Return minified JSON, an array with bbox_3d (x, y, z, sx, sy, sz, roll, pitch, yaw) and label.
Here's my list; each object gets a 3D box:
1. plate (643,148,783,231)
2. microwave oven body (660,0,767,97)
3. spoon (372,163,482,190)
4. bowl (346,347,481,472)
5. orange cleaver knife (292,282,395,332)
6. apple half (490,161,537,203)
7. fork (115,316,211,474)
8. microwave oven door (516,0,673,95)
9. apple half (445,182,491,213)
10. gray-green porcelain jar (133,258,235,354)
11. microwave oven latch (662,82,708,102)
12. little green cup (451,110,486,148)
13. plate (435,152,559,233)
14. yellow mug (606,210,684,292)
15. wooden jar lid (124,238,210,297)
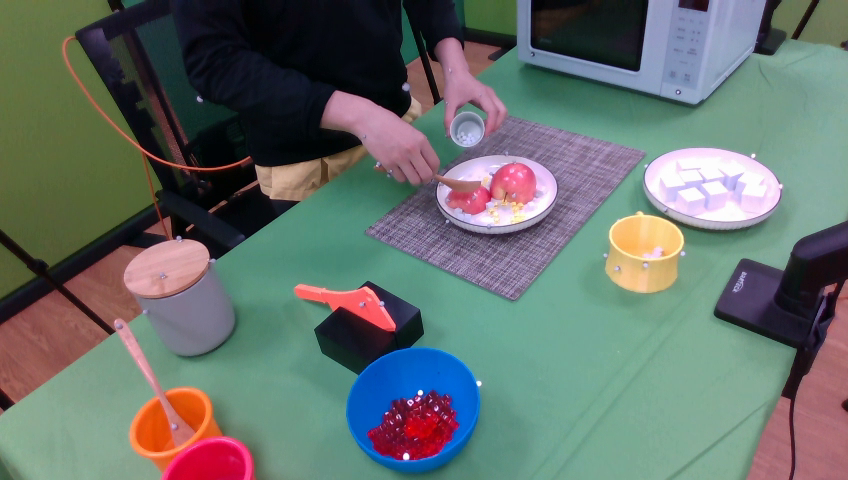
[{"bbox_3d":[0.464,-0.080,0.986,0.207,0.039,0.206,-4,41,4],"label":"plate"},{"bbox_3d":[0.474,-0.516,1.313,0.438,0.261,0.327,26,51,34],"label":"microwave oven body"},{"bbox_3d":[0.007,-0.101,0.939,0.195,0.041,0.021,10,73,-29],"label":"spoon"},{"bbox_3d":[-0.008,0.205,0.691,0.151,0.077,0.150,-4,40,4],"label":"bowl"},{"bbox_3d":[-0.116,0.091,0.835,0.209,0.077,0.012,2,32,48],"label":"orange cleaver knife"},{"bbox_3d":[0.154,-0.106,1.030,0.080,0.053,0.075,22,46,31],"label":"apple half"},{"bbox_3d":[-0.308,0.179,0.708,0.028,0.018,0.207,-30,89,-22],"label":"fork"},{"bbox_3d":[0.344,-0.458,1.256,0.353,0.245,0.039,26,51,33],"label":"microwave oven door"},{"bbox_3d":[0.077,-0.084,1.029,0.081,0.033,0.081,-1,42,2],"label":"apple half"},{"bbox_3d":[-0.327,0.086,0.836,0.106,0.127,0.105,-4,41,4],"label":"gray-green porcelain jar"},{"bbox_3d":[0.518,-0.298,1.202,0.078,0.029,0.030,28,53,35],"label":"microwave oven latch"},{"bbox_3d":[0.077,-0.190,1.048,0.061,0.039,0.061,0,81,2],"label":"little green cup"},{"bbox_3d":[0.124,-0.078,1.026,0.209,0.038,0.208,-4,40,4],"label":"plate"},{"bbox_3d":[0.318,0.007,0.883,0.100,0.064,0.130,0,41,8],"label":"yellow mug"},{"bbox_3d":[-0.335,0.039,0.794,0.108,0.021,0.108,-2,40,2],"label":"wooden jar lid"}]
